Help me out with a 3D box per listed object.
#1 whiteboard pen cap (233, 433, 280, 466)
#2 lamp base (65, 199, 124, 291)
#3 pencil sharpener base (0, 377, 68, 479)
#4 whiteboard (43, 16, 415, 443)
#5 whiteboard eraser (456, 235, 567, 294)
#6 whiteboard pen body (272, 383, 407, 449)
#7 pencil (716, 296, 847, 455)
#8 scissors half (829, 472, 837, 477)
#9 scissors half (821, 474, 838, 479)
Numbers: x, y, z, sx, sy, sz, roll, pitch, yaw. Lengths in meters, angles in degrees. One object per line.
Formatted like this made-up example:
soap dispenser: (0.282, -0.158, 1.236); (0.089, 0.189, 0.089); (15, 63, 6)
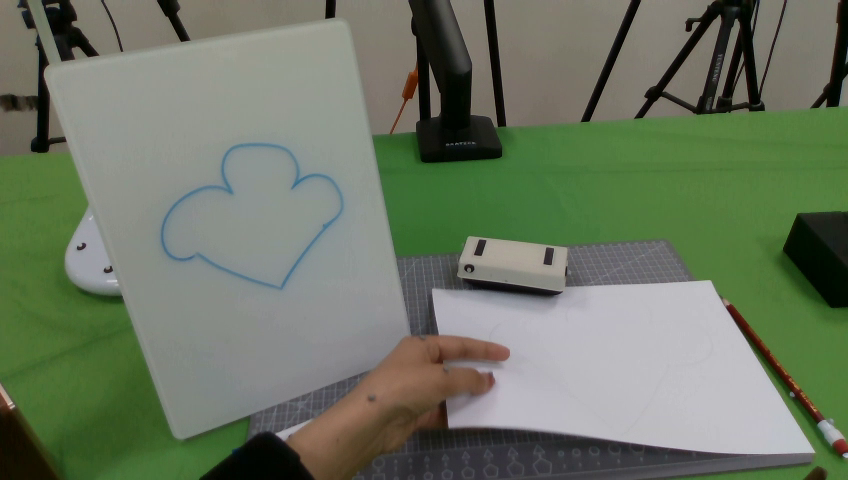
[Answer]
whiteboard pen cap: (-0.132, 0.165, 0.479); (0.033, 0.018, 0.018); (-17, 39, -18)
lamp base: (-0.338, -0.061, 0.660); (0.178, 0.182, 0.160); (22, 42, 31)
pencil sharpener base: (-0.320, 0.155, 0.431); (0.061, 0.108, 0.076); (29, 47, 34)
whiteboard: (-0.156, -0.020, 0.546); (0.218, 0.307, 0.142); (-17, 20, -18)
whiteboard eraser: (0.094, 0.027, 0.643); (0.112, 0.042, 0.055); (8, 38, 12)
whiteboard pen body: (-0.079, 0.148, 0.498); (0.141, 0.017, 0.017); (-17, 39, -19)
pencil: (0.320, 0.113, 0.555); (0.012, 0.012, 0.192); (-6, 35, -6)
scissors half: (0.151, 0.178, 0.310); (0.013, 0.176, 0.040); (26, 25, -1)
scissors half: (0.149, 0.184, 0.291); (0.013, 0.175, 0.040); (24, 10, -7)
